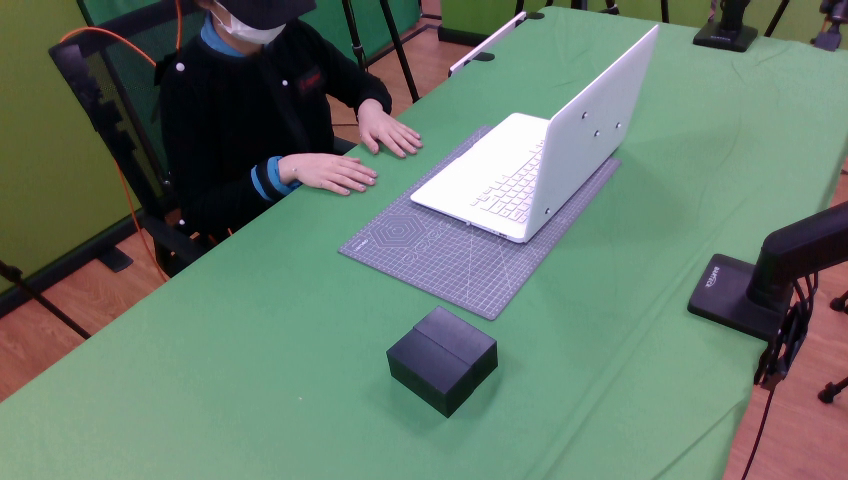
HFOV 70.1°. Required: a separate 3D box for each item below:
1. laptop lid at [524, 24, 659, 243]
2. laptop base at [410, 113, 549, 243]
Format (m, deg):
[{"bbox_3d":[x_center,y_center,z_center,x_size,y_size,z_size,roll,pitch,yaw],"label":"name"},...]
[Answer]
[{"bbox_3d":[0.266,-0.169,0.949,0.013,0.242,0.358,30,50,25],"label":"laptop lid"},{"bbox_3d":[0.171,-0.126,1.096,0.233,0.023,0.355,21,47,33],"label":"laptop base"}]
